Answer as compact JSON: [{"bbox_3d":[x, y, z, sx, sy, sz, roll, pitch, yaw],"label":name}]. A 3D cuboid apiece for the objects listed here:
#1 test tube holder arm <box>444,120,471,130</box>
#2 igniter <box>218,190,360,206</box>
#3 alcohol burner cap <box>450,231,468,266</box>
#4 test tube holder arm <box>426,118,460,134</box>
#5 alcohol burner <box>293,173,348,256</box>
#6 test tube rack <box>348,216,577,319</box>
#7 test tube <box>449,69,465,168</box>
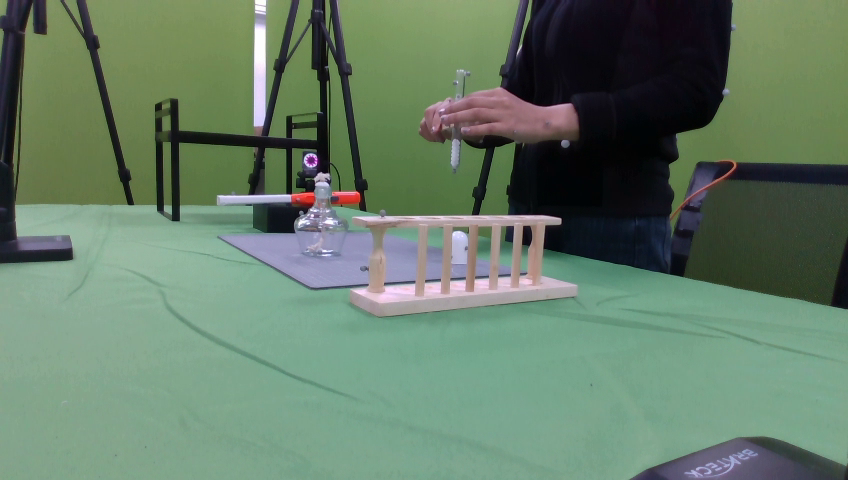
[{"bbox_3d":[0.049,-0.181,0.955,0.010,0.015,0.087,6,4,-26],"label":"test tube holder arm"},{"bbox_3d":[-0.247,-0.080,1.150,0.278,0.025,0.057,-5,7,-29],"label":"igniter"},{"bbox_3d":[0.046,0.011,0.838,0.034,0.048,0.034,2,6,0],"label":"alcohol burner cap"},{"bbox_3d":[0.029,-0.187,0.995,0.013,0.015,0.178,8,4,-16],"label":"test tube holder arm"},{"bbox_3d":[-0.147,-0.036,0.859,0.078,0.119,0.078,4,8,0],"label":"alcohol burner"},{"bbox_3d":[0.048,0.021,0.619,0.244,0.085,0.066,-2,9,-31],"label":"test tube rack"},{"bbox_3d":[0.051,-0.186,0.931,0.017,0.150,0.017,4,5,0],"label":"test tube"}]
